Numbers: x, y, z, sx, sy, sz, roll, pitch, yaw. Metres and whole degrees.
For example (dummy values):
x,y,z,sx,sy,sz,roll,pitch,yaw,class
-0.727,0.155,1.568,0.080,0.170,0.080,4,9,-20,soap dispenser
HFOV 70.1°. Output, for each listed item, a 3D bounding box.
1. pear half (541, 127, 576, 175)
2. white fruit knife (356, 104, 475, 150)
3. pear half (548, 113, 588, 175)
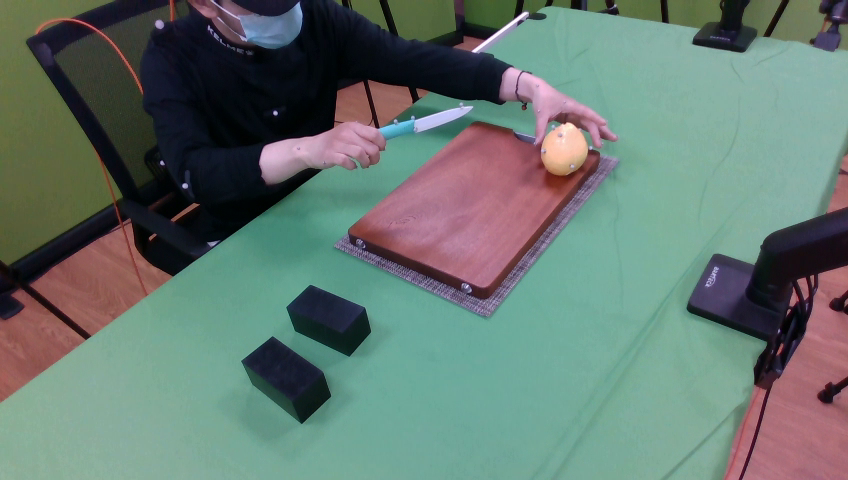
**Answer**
x,y,z,sx,sy,sz,roll,pitch,yaw,class
0.219,-0.145,1.010,0.070,0.088,0.031,35,55,29,pear half
-0.018,-0.175,0.923,0.206,0.027,0.016,-14,45,21,white fruit knife
0.245,-0.170,1.020,0.056,0.110,0.076,-36,53,-29,pear half
